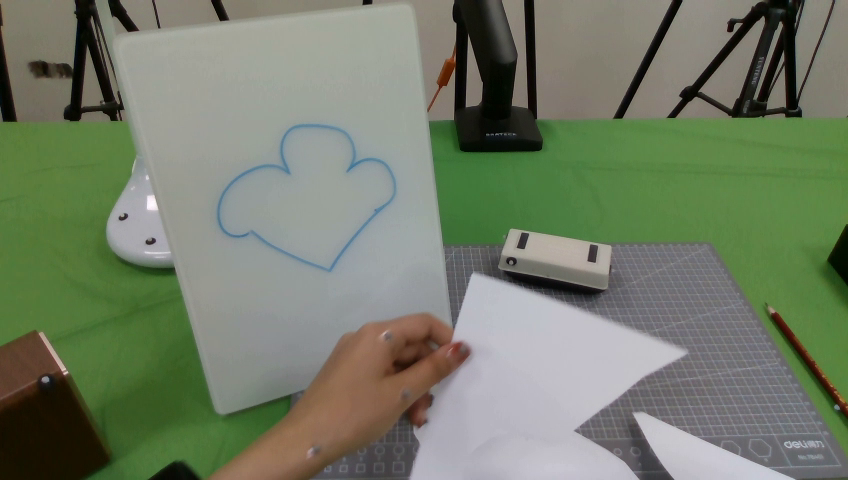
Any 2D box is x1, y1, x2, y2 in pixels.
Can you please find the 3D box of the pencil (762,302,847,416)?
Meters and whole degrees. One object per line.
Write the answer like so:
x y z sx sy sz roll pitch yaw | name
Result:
0.358 0.120 0.548 0.012 0.012 0.192 -3 36 -4 | pencil

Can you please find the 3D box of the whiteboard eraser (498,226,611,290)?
0.138 0.020 0.638 0.112 0.042 0.055 11 40 12 | whiteboard eraser

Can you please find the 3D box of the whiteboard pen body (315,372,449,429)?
-0.045 0.135 0.499 0.141 0.017 0.017 -14 40 -17 | whiteboard pen body

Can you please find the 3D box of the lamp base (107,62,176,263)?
-0.289 -0.092 0.660 0.177 0.182 0.160 26 44 31 | lamp base

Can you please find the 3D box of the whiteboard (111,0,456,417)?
-0.112 -0.039 0.543 0.218 0.307 0.142 -14 21 -17 | whiteboard

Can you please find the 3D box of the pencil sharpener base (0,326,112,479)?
-0.287 0.129 0.436 0.077 0.108 0.061 -31 48 -33 | pencil sharpener base

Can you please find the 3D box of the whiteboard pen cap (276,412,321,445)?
-0.099 0.149 0.481 0.033 0.018 0.018 -15 41 -17 | whiteboard pen cap
